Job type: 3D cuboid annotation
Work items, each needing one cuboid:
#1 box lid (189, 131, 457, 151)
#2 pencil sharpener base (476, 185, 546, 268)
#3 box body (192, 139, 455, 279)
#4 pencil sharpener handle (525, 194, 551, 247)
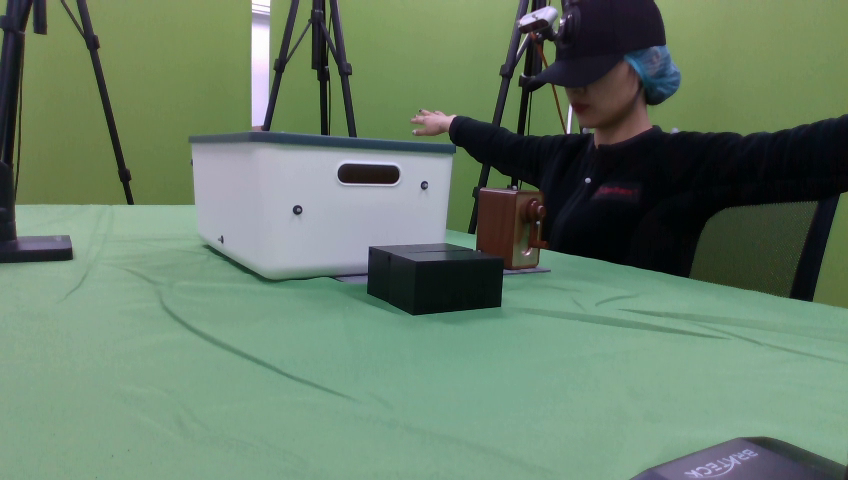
[{"bbox_3d":[-0.153,-0.132,0.826,0.265,0.015,0.369,-3,9,-32],"label":"box lid"},{"bbox_3d":[0.120,-0.019,0.825,0.062,0.107,0.076,-3,10,-40],"label":"pencil sharpener base"},{"bbox_3d":[-0.157,-0.058,0.837,0.255,0.160,0.362,-2,8,-32],"label":"box body"},{"bbox_3d":[0.153,-0.025,0.784,0.036,0.067,0.030,0,8,-41],"label":"pencil sharpener handle"}]
